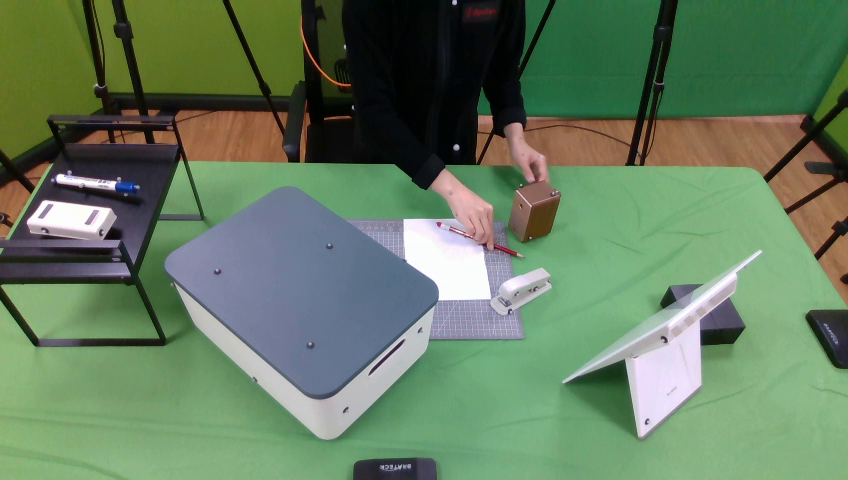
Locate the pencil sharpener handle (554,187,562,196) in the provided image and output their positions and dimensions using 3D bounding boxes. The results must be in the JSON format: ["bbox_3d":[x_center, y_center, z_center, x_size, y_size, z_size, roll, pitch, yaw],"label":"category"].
[{"bbox_3d":[0.266,-0.085,1.223,0.031,0.068,0.036,-18,64,-21],"label":"pencil sharpener handle"}]

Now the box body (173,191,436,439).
[{"bbox_3d":[-0.191,0.110,0.979,0.362,0.161,0.254,33,53,24],"label":"box body"}]

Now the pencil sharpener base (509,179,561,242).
[{"bbox_3d":[0.222,-0.059,1.212,0.077,0.107,0.061,-18,49,-21],"label":"pencil sharpener base"}]

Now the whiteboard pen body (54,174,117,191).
[{"bbox_3d":[-0.541,-0.093,0.993,0.140,0.017,0.017,7,46,9],"label":"whiteboard pen body"}]

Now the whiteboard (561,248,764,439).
[{"bbox_3d":[0.386,0.176,0.905,0.217,0.306,0.143,-26,72,-27],"label":"whiteboard"}]

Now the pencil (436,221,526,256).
[{"bbox_3d":[0.114,-0.002,1.213,0.193,0.012,0.012,21,49,13],"label":"pencil"}]

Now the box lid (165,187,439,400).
[{"bbox_3d":[-0.186,0.060,0.925,0.370,0.015,0.263,32,53,25],"label":"box lid"}]

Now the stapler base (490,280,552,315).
[{"bbox_3d":[0.181,0.094,1.118,0.130,0.024,0.041,-24,57,-29],"label":"stapler base"}]

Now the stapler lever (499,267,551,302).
[{"bbox_3d":[0.185,0.076,1.101,0.118,0.040,0.026,-25,57,-29],"label":"stapler lever"}]

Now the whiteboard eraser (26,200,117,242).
[{"bbox_3d":[-0.532,-0.026,0.919,0.113,0.042,0.055,7,45,3],"label":"whiteboard eraser"}]

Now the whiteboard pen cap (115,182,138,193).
[{"bbox_3d":[-0.483,-0.086,0.984,0.033,0.018,0.018,7,46,10],"label":"whiteboard pen cap"}]
